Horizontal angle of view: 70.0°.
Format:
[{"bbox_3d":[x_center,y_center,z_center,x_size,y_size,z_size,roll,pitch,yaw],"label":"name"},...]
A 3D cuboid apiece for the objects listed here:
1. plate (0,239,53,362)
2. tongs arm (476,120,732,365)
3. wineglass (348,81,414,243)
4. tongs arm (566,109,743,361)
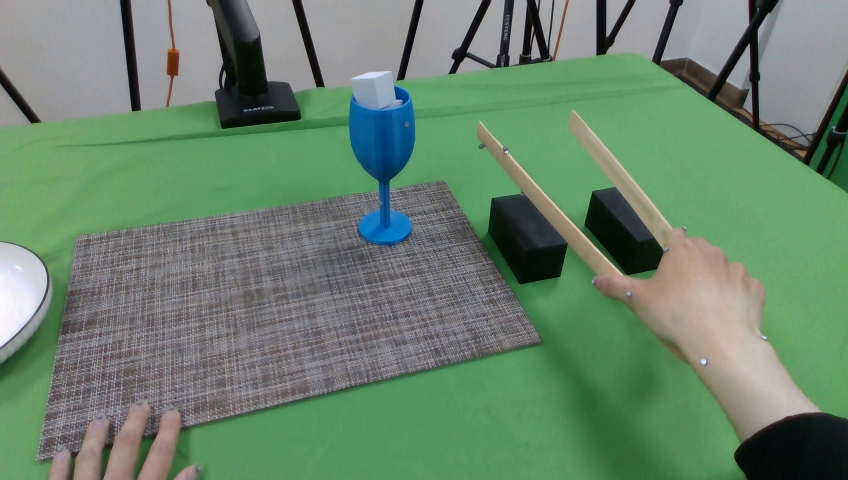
[{"bbox_3d":[-0.466,0.076,0.577,0.209,0.038,0.207,1,40,-1],"label":"plate"},{"bbox_3d":[0.156,-0.022,0.618,0.051,0.027,0.380,-11,43,-19],"label":"tongs arm"},{"bbox_3d":[-0.047,-0.083,0.677,0.074,0.174,0.073,1,40,-1],"label":"wineglass"},{"bbox_3d":[0.222,-0.034,0.637,0.028,0.028,0.383,-2,41,-14],"label":"tongs arm"}]
